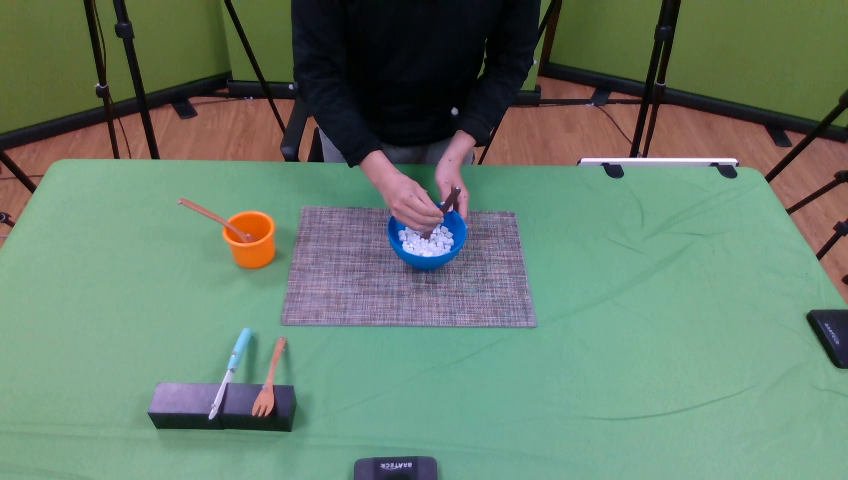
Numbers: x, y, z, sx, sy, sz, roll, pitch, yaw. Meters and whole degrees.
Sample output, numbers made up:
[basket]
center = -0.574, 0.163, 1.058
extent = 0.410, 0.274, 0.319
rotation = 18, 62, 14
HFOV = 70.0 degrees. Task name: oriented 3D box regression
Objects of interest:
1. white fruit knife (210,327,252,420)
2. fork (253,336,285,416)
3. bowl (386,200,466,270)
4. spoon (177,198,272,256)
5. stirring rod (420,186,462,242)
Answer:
[white fruit knife]
center = -0.298, 0.200, 0.937
extent = 0.016, 0.027, 0.206
rotation = 0, 30, 0
[fork]
center = -0.235, 0.206, 0.938
extent = 0.028, 0.019, 0.206
rotation = -2, 26, -3
[bowl]
center = 0.001, 0.003, 1.150
extent = 0.151, 0.077, 0.150
rotation = 2, 46, -2
[spoon]
center = -0.361, -0.025, 1.106
extent = 0.021, 0.195, 0.041
rotation = -32, 37, 29
[stirring rod]
center = 0.029, -0.045, 1.109
extent = 0.014, 0.176, 0.006
rotation = 19, 52, -12
